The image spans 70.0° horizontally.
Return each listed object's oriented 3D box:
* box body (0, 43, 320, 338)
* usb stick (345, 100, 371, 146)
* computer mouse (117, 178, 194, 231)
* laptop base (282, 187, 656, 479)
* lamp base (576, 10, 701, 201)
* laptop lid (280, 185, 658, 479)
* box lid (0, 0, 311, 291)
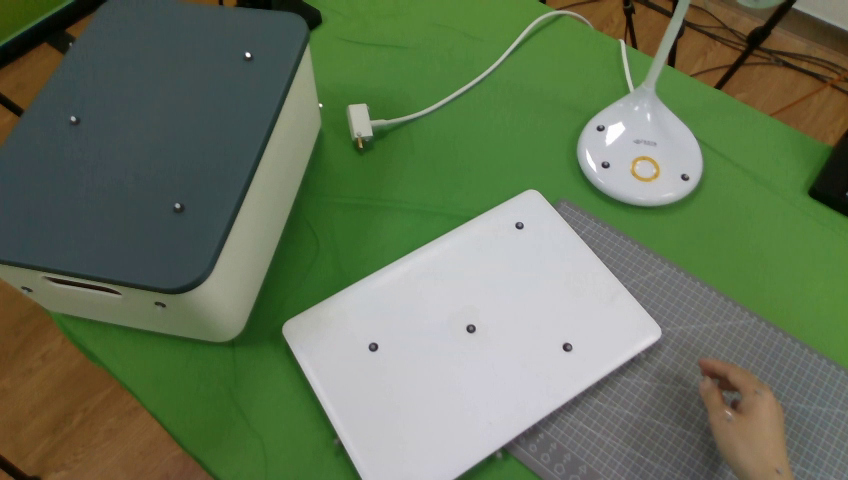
[{"bbox_3d":[-0.288,-0.088,0.695,0.254,0.161,0.361,9,60,5],"label":"box body"},{"bbox_3d":[-0.088,-0.155,0.809,0.027,0.021,0.059,-7,89,-22],"label":"usb stick"},{"bbox_3d":[-0.323,-0.050,0.731,0.063,0.041,0.116,-17,20,1],"label":"computer mouse"},{"bbox_3d":[0.049,0.098,0.671,0.354,0.023,0.233,-29,66,-16],"label":"laptop base"},{"bbox_3d":[0.279,-0.168,0.733,0.161,0.182,0.177,-1,56,0],"label":"lamp base"},{"bbox_3d":[0.050,0.093,0.659,0.357,0.013,0.239,-27,65,-15],"label":"laptop lid"},{"bbox_3d":[-0.288,-0.128,0.633,0.263,0.015,0.368,9,60,6],"label":"box lid"}]
